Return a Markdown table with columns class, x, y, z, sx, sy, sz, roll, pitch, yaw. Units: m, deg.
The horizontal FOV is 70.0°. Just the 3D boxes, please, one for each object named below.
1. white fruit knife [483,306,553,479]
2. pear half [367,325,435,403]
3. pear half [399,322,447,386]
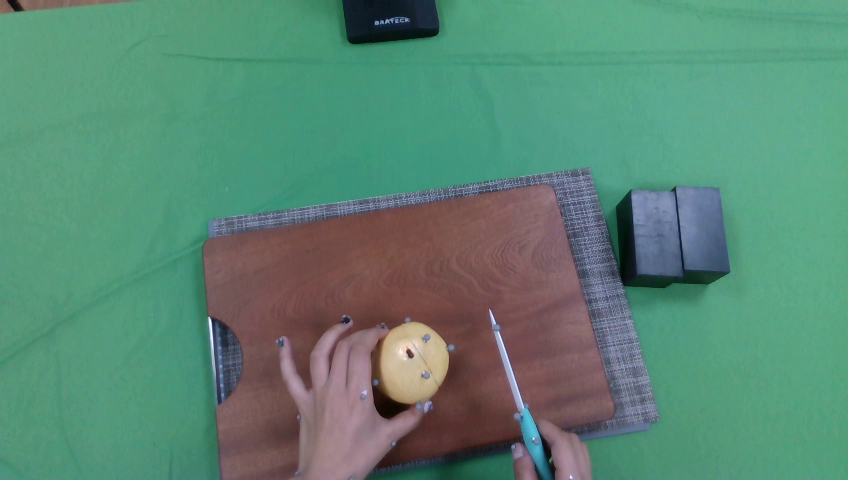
| class | x | y | z | sx | sy | sz | roll | pitch | yaw |
| --- | --- | --- | --- | --- | --- | --- | --- | --- | --- |
| white fruit knife | 0.086 | 0.155 | 0.543 | 0.016 | 0.027 | 0.208 | -21 | 99 | -12 |
| pear half | -0.026 | 0.121 | 0.576 | 0.056 | 0.110 | 0.076 | -34 | 71 | -13 |
| pear half | 0.003 | 0.105 | 0.593 | 0.031 | 0.088 | 0.070 | -36 | 71 | -12 |
